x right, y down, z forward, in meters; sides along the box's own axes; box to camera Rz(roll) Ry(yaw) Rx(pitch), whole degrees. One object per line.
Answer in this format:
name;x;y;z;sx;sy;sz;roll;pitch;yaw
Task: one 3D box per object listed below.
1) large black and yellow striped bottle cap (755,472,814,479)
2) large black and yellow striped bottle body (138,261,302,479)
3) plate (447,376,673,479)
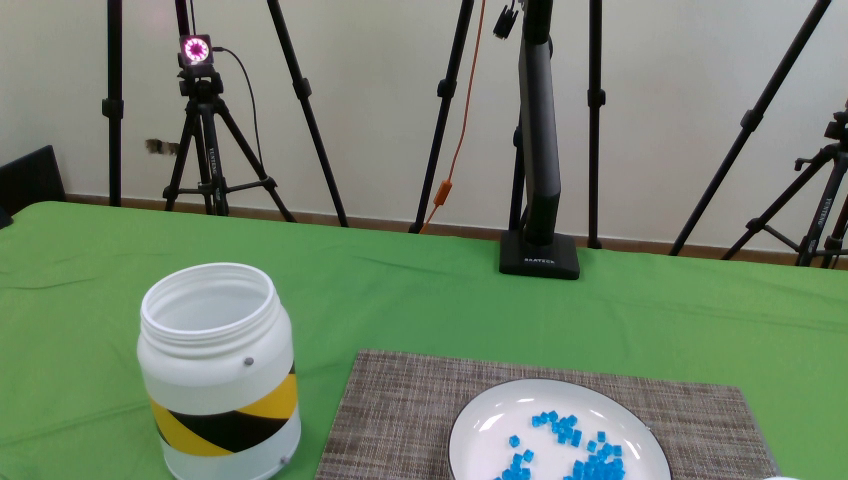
large black and yellow striped bottle cap;0.342;0.257;0.534;0.115;0.019;0.114;5;32;-3
large black and yellow striped bottle body;-0.187;0.124;0.568;0.131;0.185;0.129;2;30;-1
plate;0.124;0.214;0.574;0.208;0.039;0.206;2;30;-1
